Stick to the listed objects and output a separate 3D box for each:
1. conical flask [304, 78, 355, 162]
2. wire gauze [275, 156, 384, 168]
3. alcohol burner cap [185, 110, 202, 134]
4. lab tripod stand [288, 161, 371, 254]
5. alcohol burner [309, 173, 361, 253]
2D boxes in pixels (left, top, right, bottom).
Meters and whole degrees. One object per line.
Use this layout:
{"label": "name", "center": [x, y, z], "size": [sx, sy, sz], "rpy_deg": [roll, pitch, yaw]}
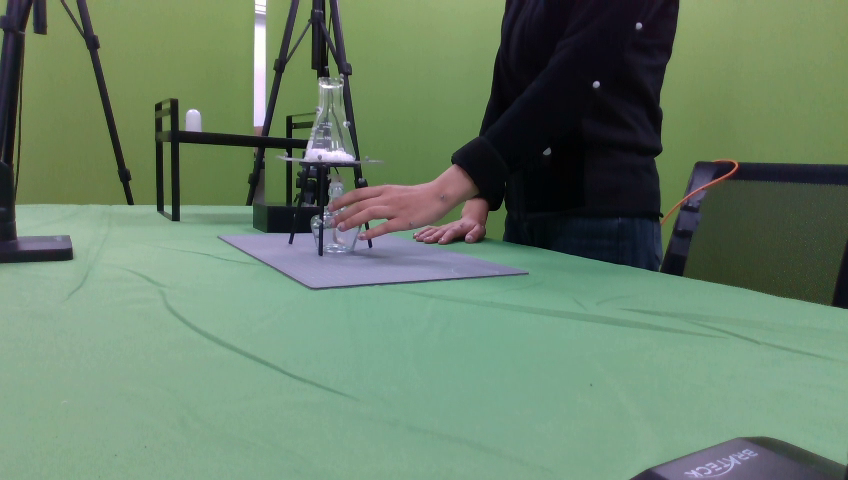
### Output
{"label": "conical flask", "center": [-0.139, -0.175, 0.893], "size": [0.075, 0.122, 0.075], "rpy_deg": [2, 8, 0]}
{"label": "wire gauze", "center": [-0.142, -0.116, 0.900], "size": [0.122, 0.011, 0.124], "rpy_deg": [-1, 5, -37]}
{"label": "alcohol burner cap", "center": [-0.470, -0.242, 1.234], "size": [0.034, 0.048, 0.034], "rpy_deg": [4, 7, 0]}
{"label": "lab tripod stand", "center": [-0.148, -0.053, 0.909], "size": [0.148, 0.131, 0.148], "rpy_deg": [1, 8, 0]}
{"label": "alcohol burner", "center": [-0.132, -0.041, 0.901], "size": [0.078, 0.119, 0.078], "rpy_deg": [1, 5, 0]}
